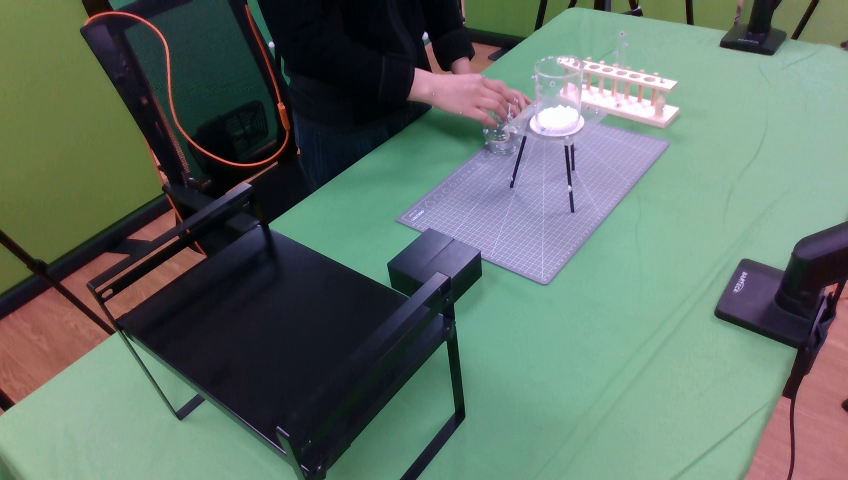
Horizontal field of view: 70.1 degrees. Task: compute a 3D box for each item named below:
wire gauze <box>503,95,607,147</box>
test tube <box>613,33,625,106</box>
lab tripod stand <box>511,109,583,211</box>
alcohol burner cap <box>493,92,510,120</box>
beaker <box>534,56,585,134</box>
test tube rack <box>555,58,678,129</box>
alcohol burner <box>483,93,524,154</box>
[{"bbox_3d":[0.211,-0.191,0.976,0.120,0.011,0.125,24,52,32],"label":"wire gauze"},{"bbox_3d":[0.380,-0.330,1.180,0.017,0.151,0.017,-7,41,6],"label":"test tube"},{"bbox_3d":[0.220,-0.138,1.014,0.148,0.132,0.147,-3,41,3],"label":"lab tripod stand"},{"bbox_3d":[0.144,-0.250,1.117,0.034,0.048,0.033,0,41,1],"label":"alcohol burner cap"},{"bbox_3d":[0.209,-0.226,0.942,0.074,0.101,0.083,-2,41,8],"label":"beaker"},{"bbox_3d":[0.390,-0.307,1.229,0.240,0.085,0.067,25,50,33],"label":"test tube rack"},{"bbox_3d":[0.149,-0.222,1.140,0.078,0.119,0.077,-5,42,5],"label":"alcohol burner"}]
